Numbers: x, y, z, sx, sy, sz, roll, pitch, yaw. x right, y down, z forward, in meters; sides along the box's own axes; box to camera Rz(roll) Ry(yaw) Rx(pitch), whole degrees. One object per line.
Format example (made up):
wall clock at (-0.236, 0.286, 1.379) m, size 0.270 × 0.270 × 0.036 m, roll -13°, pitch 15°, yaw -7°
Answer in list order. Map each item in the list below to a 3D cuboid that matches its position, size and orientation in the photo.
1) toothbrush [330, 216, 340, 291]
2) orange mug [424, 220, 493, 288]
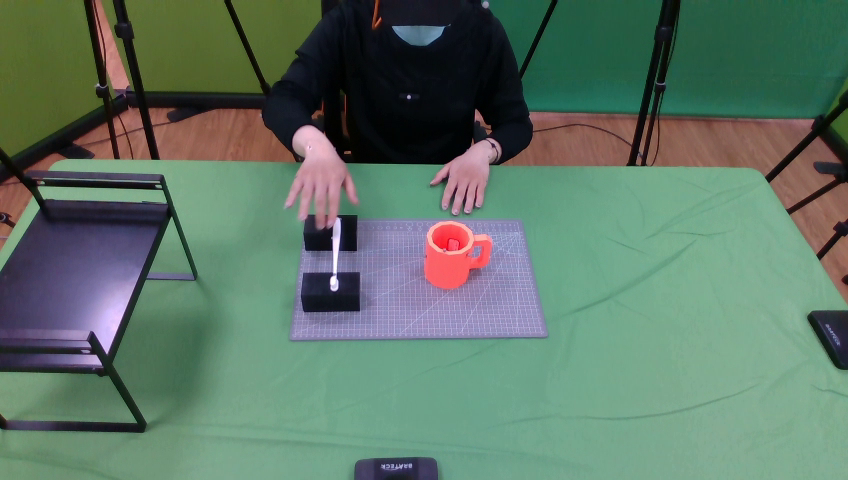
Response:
toothbrush at (-0.161, 0.019, 1.094) m, size 0.014 × 0.017 × 0.180 m, roll -9°, pitch 45°, yaw 3°
orange mug at (0.064, 0.023, 1.119) m, size 0.126 × 0.101 × 0.083 m, roll -9°, pitch 47°, yaw -7°
